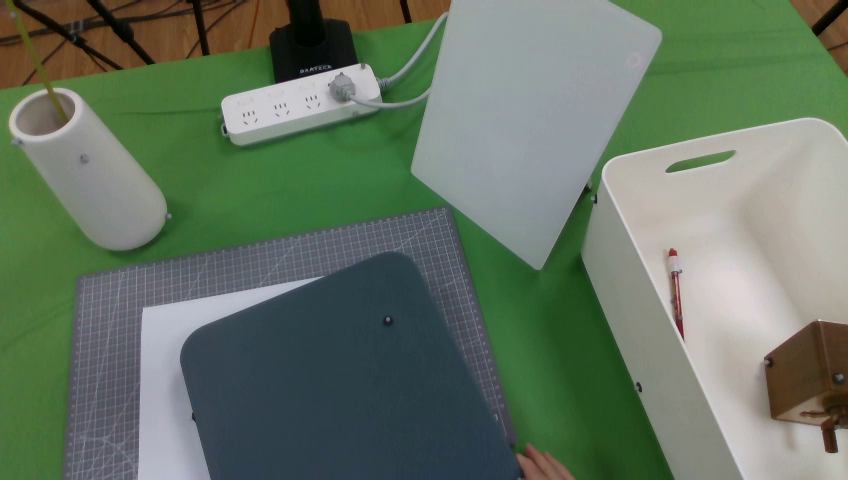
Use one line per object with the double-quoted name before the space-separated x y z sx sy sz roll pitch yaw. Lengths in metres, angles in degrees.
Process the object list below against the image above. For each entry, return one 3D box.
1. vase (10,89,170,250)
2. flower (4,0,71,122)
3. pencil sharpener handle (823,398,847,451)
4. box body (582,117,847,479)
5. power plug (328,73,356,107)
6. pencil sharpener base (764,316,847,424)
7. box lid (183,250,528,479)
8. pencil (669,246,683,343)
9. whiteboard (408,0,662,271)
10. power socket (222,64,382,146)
"vase" -0.361 -0.071 0.667 0.098 0.201 0.097 -1 59 2
"flower" -0.361 -0.130 0.605 0.038 0.365 0.043 -22 44 -19
"pencil sharpener handle" 0.380 0.168 0.549 0.036 0.068 0.030 2 59 15
"box body" 0.333 0.083 0.588 0.254 0.162 0.360 -12 60 -6
"power plug" -0.107 -0.188 0.800 0.035 0.053 0.072 -8 61 -3
"pencil sharpener base" 0.385 0.131 0.585 0.061 0.108 0.076 8 60 4
"box lid" -0.063 0.193 0.573 0.263 0.015 0.368 -22 62 -11
"pencil" 0.280 0.094 0.666 0.012 0.012 0.192 6 63 5
"whiteboard" 0.134 -0.157 0.684 0.215 0.307 0.144 40 49 22
"power socket" -0.165 -0.185 0.826 0.227 0.033 0.071 -16 62 -9
